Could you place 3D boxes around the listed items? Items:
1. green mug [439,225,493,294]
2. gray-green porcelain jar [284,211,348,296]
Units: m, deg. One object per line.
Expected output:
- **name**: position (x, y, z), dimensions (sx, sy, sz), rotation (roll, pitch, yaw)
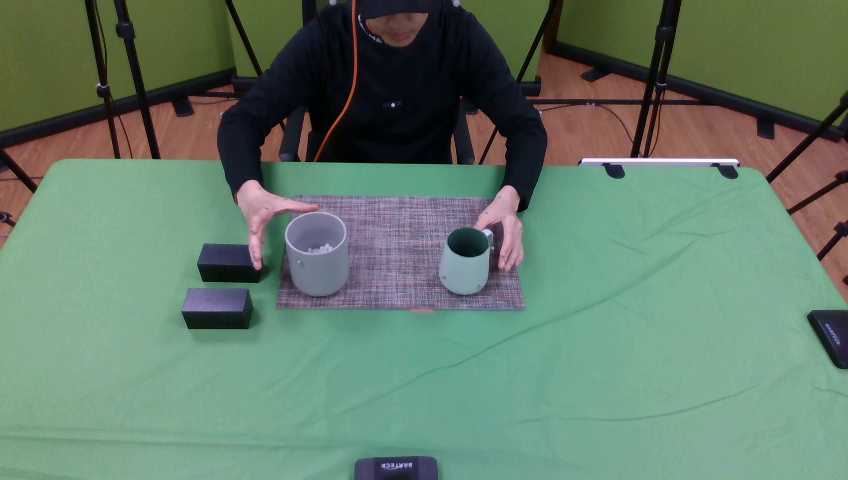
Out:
- **green mug**: position (0.086, 0.028, 1.113), dimensions (0.092, 0.105, 0.125), rotation (31, 52, 24)
- **gray-green porcelain jar**: position (-0.188, 0.029, 1.077), dimensions (0.106, 0.127, 0.105), rotation (2, 47, -2)
